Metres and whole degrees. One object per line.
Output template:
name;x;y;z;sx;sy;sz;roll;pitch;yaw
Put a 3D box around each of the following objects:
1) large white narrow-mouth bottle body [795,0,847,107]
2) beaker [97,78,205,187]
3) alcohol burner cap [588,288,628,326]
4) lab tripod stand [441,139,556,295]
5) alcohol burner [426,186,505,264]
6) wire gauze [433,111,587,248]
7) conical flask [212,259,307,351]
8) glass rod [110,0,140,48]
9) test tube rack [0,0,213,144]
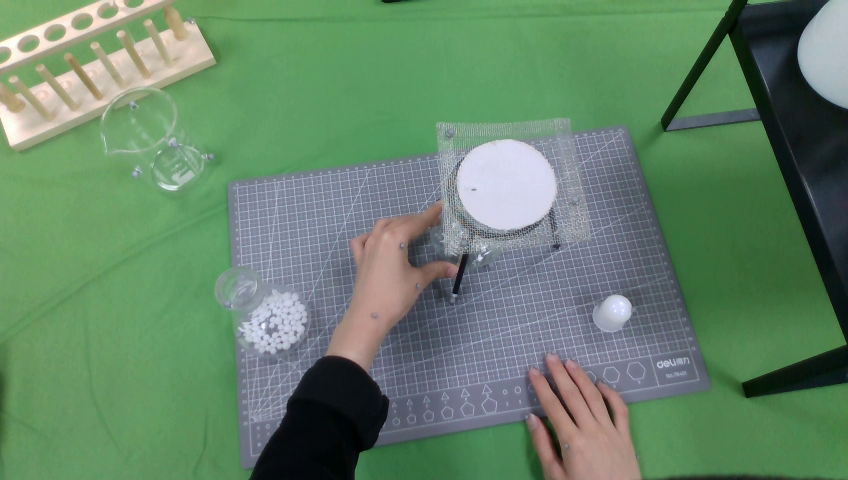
large white narrow-mouth bottle body;0.353;-0.183;0.414;0.102;0.196;0.101;0;67;0
beaker;-0.278;-0.104;0.626;0.073;0.101;0.084;36;74;13
alcohol burner cap;0.181;0.063;0.592;0.034;0.048;0.033;0;70;0
lab tripod stand;0.064;-0.026;0.576;0.148;0.132;0.147;1;68;-1
alcohol burner;0.042;-0.021;0.585;0.078;0.120;0.077;1;68;-1
wire gauze;0.071;-0.055;0.514;0.121;0.011;0.124;-3;70;-3
conical flask;-0.155;0.054;0.552;0.075;0.122;0.075;0;69;1
glass rod;-0.330;-0.267;0.623;0.008;0.201;0.008;2;67;-4
test tube rack;-0.371;-0.204;0.670;0.242;0.086;0.066;-28;72;-10
